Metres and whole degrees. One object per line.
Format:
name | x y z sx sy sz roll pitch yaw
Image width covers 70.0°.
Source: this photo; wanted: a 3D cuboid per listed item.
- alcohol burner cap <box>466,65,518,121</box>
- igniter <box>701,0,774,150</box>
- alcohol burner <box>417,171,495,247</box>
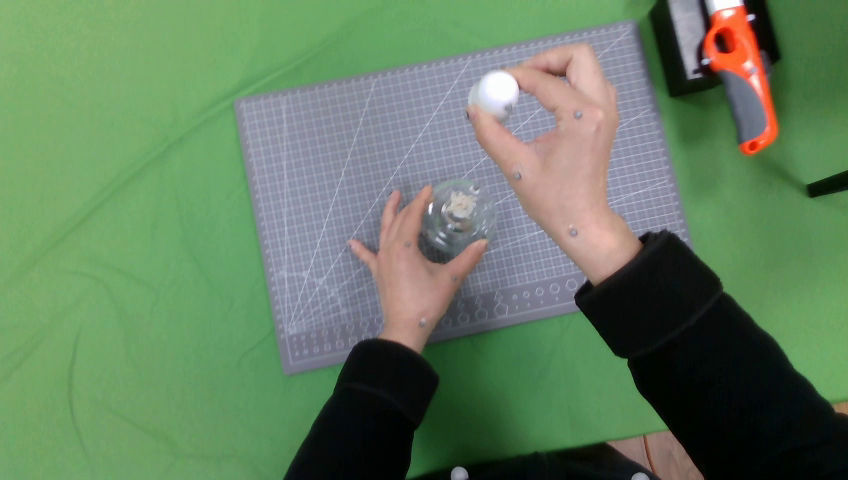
alcohol burner cap | 0.048 -0.102 0.412 0.034 0.048 0.034 0 91 -6
igniter | 0.303 -0.225 0.612 0.057 0.025 0.275 -11 82 0
alcohol burner | 0.032 -0.032 0.592 0.078 0.119 0.078 0 86 1
